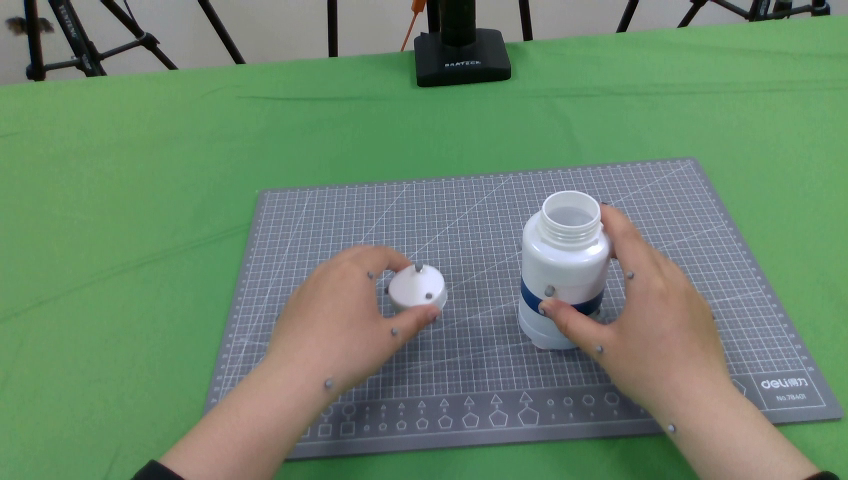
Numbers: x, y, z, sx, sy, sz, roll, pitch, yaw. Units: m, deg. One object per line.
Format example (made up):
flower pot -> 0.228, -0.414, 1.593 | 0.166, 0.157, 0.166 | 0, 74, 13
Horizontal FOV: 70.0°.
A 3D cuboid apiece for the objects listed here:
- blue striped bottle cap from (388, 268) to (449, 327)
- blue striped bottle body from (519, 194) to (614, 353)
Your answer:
blue striped bottle cap -> -0.004, 0.043, 0.462 | 0.044, 0.021, 0.044 | -7, 44, 7
blue striped bottle body -> 0.103, 0.024, 0.443 | 0.063, 0.122, 0.062 | -3, 44, 3
